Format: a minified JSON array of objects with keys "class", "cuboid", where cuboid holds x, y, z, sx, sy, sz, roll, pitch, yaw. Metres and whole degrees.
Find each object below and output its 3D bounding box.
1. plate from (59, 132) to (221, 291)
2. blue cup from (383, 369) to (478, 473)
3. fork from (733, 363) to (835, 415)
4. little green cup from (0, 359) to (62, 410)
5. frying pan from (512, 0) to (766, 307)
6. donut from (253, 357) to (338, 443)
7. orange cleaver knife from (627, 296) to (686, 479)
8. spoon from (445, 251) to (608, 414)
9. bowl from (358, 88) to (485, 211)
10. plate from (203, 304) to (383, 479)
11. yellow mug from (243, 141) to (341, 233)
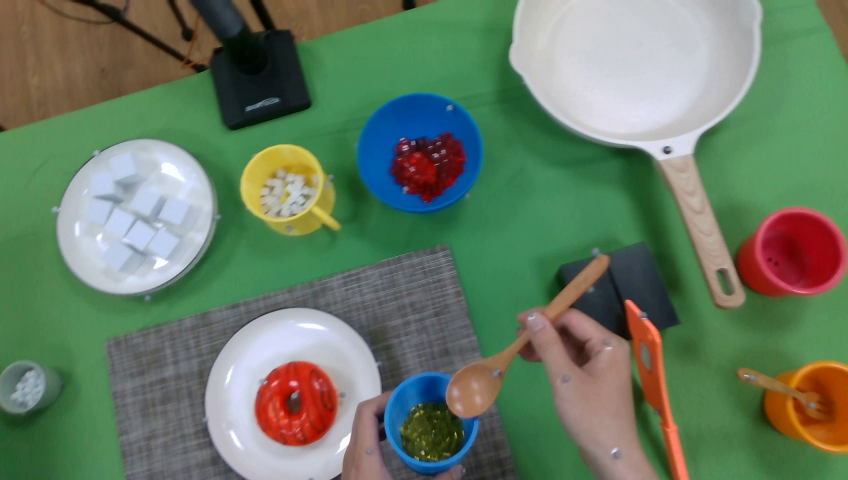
[{"class":"plate","cuboid":[-0.359,-0.035,0.781,0.207,0.039,0.206,-1,77,5]},{"class":"blue cup","cuboid":[0.006,0.183,0.584,0.092,0.101,0.092,0,58,0]},{"class":"fork","cuboid":[0.374,0.153,0.621,0.209,0.018,0.028,23,77,-35]},{"class":"little green cup","cuboid":[-0.480,0.176,0.741,0.061,0.039,0.061,-1,78,3]},{"class":"frying pan","cuboid":[0.278,-0.152,0.722,0.307,0.103,0.484,-11,68,3]},{"class":"donut","cuboid":[-0.148,0.184,0.698,0.099,0.048,0.098,-1,81,5]},{"class":"orange cleaver knife","cuboid":[0.253,0.163,0.664,0.012,0.077,0.212,-17,105,1]},{"class":"spoon","cuboid":[0.084,0.080,0.506,0.041,0.022,0.194,47,116,14]},{"class":"bowl","cuboid":[0.000,-0.100,0.746,0.151,0.077,0.150,-1,77,5]},{"class":"plate","cuboid":[-0.150,0.179,0.711,0.209,0.038,0.208,-1,77,4]},{"class":"yellow mug","cuboid":[-0.154,-0.056,0.755,0.130,0.064,0.100,36,82,11]}]
